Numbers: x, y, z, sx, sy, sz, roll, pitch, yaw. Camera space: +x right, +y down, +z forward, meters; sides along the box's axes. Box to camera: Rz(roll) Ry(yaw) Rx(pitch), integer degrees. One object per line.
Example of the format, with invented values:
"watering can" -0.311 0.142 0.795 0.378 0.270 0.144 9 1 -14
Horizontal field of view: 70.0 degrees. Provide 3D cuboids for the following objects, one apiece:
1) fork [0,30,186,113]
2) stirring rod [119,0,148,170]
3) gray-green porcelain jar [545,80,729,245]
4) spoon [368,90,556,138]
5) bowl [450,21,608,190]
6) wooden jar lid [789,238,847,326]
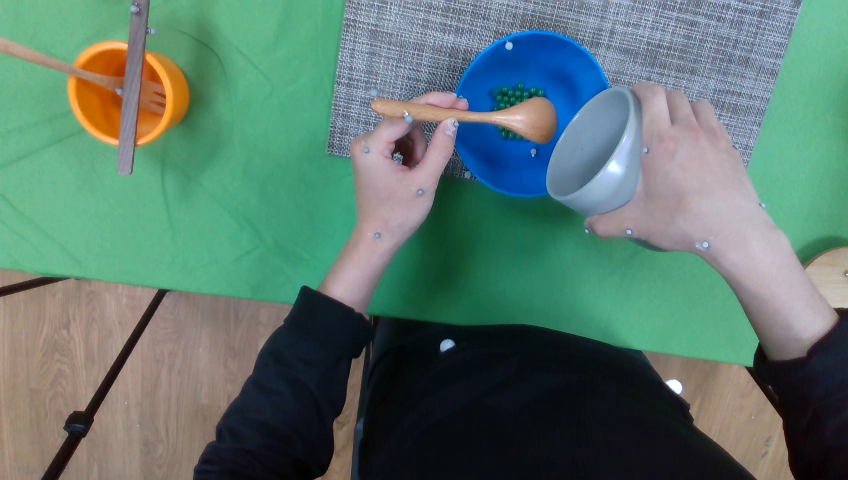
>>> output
"fork" -0.305 -0.153 0.524 0.209 0.018 0.028 13 115 -53
"stirring rod" -0.252 -0.147 0.527 0.014 0.006 0.177 10 107 -8
"gray-green porcelain jar" 0.188 -0.061 0.528 0.127 0.105 0.106 26 104 -19
"spoon" 0.040 -0.107 0.498 0.195 0.021 0.041 -4 98 -30
"bowl" 0.096 -0.129 0.590 0.151 0.076 0.152 -1 108 -3
"wooden jar lid" 0.475 0.048 0.705 0.108 0.020 0.109 -1 108 -3
